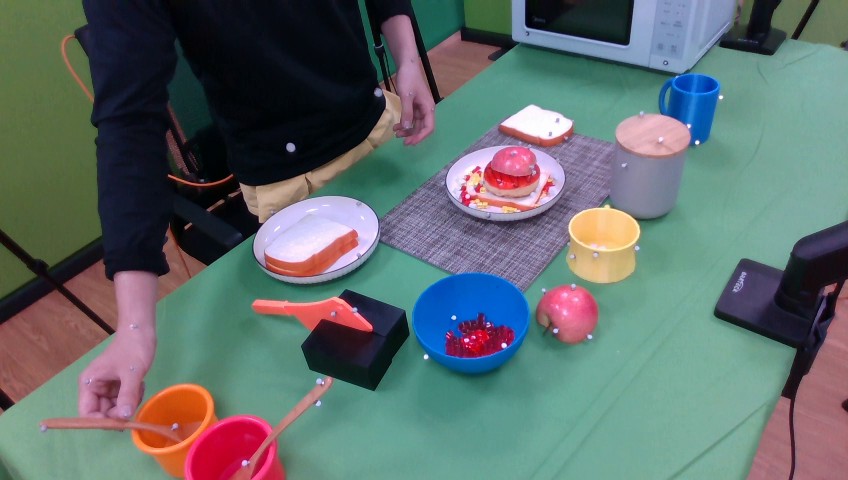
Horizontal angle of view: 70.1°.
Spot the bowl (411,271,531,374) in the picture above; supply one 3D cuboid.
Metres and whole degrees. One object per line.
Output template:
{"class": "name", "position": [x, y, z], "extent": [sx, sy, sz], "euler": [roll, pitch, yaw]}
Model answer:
{"class": "bowl", "position": [0.062, 0.119, 0.780], "extent": [0.151, 0.077, 0.150], "euler": [-4, 40, 4]}

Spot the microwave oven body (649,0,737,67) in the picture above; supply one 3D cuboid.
{"class": "microwave oven body", "position": [0.475, -0.602, 1.411], "extent": [0.438, 0.261, 0.327], "euler": [23, 50, 32]}

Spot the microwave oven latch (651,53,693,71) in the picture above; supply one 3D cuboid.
{"class": "microwave oven latch", "position": [0.532, -0.386, 1.301], "extent": [0.078, 0.029, 0.030], "euler": [27, 52, 34]}

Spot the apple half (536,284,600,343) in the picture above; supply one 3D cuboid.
{"class": "apple half", "position": [0.196, 0.091, 0.815], "extent": [0.075, 0.053, 0.080], "euler": [-22, 42, -20]}

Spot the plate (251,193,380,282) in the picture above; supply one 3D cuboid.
{"class": "plate", "position": [-0.174, -0.001, 0.984], "extent": [0.209, 0.038, 0.208], "euler": [-3, 40, 3]}

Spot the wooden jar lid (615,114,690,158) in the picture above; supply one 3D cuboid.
{"class": "wooden jar lid", "position": [0.347, -0.155, 0.923], "extent": [0.108, 0.021, 0.108], "euler": [-3, 44, 4]}

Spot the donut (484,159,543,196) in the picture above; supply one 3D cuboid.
{"class": "donut", "position": [0.150, -0.112, 1.018], "extent": [0.099, 0.048, 0.098], "euler": [-3, 40, 3]}

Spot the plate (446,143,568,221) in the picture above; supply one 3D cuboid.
{"class": "plate", "position": [0.142, -0.097, 1.045], "extent": [0.207, 0.039, 0.206], "euler": [-4, 40, 4]}

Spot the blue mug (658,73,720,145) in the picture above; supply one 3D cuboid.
{"class": "blue mug", "position": [0.483, -0.250, 1.127], "extent": [0.082, 0.106, 0.115], "euler": [-26, 44, -19]}

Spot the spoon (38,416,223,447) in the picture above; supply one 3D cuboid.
{"class": "spoon", "position": [-0.320, 0.209, 0.677], "extent": [0.021, 0.195, 0.041], "euler": [-53, 41, 16]}

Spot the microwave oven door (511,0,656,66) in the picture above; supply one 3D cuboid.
{"class": "microwave oven door", "position": [0.350, -0.539, 1.348], "extent": [0.353, 0.245, 0.039], "euler": [24, 50, 31]}

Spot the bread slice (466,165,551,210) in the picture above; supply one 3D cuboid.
{"class": "bread slice", "position": [0.141, -0.093, 1.041], "extent": [0.133, 0.018, 0.107], "euler": [9, 42, 20]}

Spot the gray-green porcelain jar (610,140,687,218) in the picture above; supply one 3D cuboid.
{"class": "gray-green porcelain jar", "position": [0.354, -0.106, 0.964], "extent": [0.106, 0.127, 0.105], "euler": [-4, 41, 4]}

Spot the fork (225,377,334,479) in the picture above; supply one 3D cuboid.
{"class": "fork", "position": [-0.163, 0.216, 0.647], "extent": [0.207, 0.019, 0.028], "euler": [-49, 42, 16]}

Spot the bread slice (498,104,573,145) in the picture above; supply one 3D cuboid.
{"class": "bread slice", "position": [0.231, -0.231, 1.205], "extent": [0.105, 0.019, 0.130], "euler": [-36, 47, -28]}

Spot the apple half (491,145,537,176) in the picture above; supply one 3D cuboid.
{"class": "apple half", "position": [0.149, -0.139, 0.995], "extent": [0.081, 0.033, 0.081], "euler": [1, 38, 0]}

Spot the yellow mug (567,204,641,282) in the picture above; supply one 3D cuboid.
{"class": "yellow mug", "position": [0.268, -0.005, 0.905], "extent": [0.099, 0.064, 0.130], "euler": [6, 42, 15]}

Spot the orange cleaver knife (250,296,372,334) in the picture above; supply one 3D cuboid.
{"class": "orange cleaver knife", "position": [-0.158, 0.103, 0.828], "extent": [0.210, 0.078, 0.012], "euler": [-4, 43, 39]}
